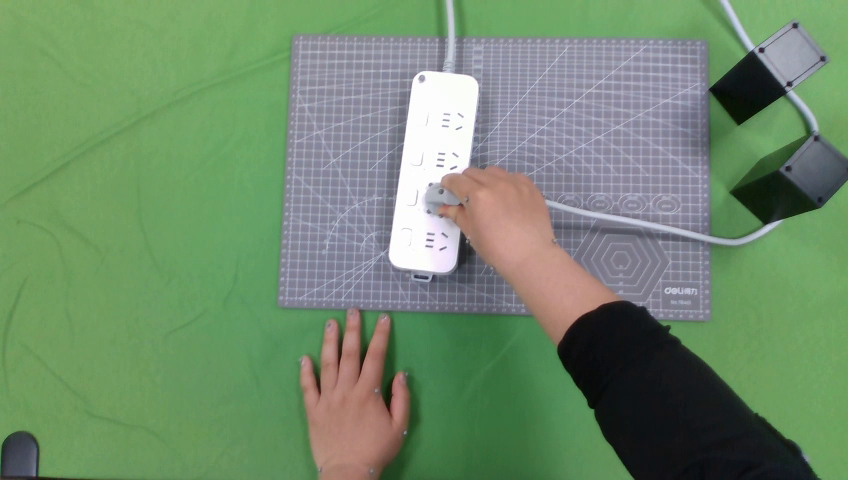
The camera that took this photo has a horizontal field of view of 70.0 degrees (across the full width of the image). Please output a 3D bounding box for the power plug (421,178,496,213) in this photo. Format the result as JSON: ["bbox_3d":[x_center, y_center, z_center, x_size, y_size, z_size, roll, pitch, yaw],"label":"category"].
[{"bbox_3d":[0.032,-0.039,0.609,0.072,0.053,0.035,20,84,4],"label":"power plug"}]

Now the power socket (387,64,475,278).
[{"bbox_3d":[0.008,-0.074,0.632,0.072,0.032,0.226,7,85,3],"label":"power socket"}]
